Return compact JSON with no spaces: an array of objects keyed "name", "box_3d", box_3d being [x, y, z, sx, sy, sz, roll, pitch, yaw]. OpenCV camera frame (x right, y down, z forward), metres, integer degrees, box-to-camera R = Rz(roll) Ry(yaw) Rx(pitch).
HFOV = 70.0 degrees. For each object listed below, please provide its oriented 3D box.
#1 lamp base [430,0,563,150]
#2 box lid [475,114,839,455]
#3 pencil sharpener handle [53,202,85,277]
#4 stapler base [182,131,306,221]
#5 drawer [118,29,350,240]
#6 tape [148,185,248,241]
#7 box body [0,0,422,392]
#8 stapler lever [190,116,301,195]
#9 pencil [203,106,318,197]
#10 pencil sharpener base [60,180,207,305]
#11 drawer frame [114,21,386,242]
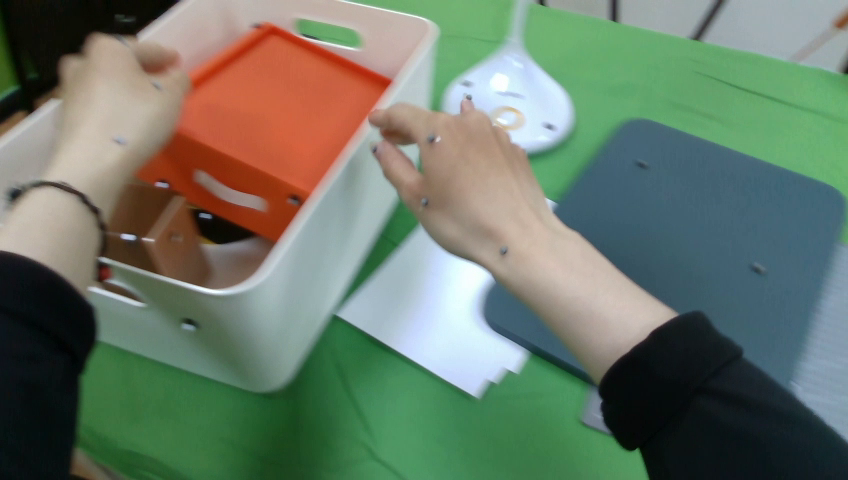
[{"name":"lamp base","box_3d":[0.088,-0.224,0.688,0.161,0.182,0.177,-1,46,-1]},{"name":"box lid","box_3d":[0.243,0.007,0.601,0.261,0.015,0.370,26,53,21]},{"name":"pencil sharpener handle","box_3d":[-0.296,-0.002,0.507,0.030,0.068,0.036,8,16,7]},{"name":"stapler base","box_3d":[-0.167,-0.066,0.567,0.130,0.024,0.041,34,42,14]},{"name":"drawer","box_3d":[-0.140,-0.103,0.586,0.194,0.073,0.210,24,43,1]},{"name":"tape","box_3d":[-0.213,-0.056,0.615,0.117,0.053,0.116,-2,59,4]},{"name":"box body","box_3d":[-0.173,-0.069,0.559,0.253,0.162,0.361,15,50,11]},{"name":"stapler lever","box_3d":[-0.162,-0.083,0.550,0.117,0.040,0.027,35,43,13]},{"name":"pencil","box_3d":[-0.163,-0.088,0.590,0.012,0.012,0.192,-36,56,-28]},{"name":"pencil sharpener base","box_3d":[-0.244,0.009,0.518,0.076,0.108,0.061,8,49,7]},{"name":"drawer frame","box_3d":[-0.140,-0.106,0.587,0.201,0.083,0.212,23,43,1]}]
